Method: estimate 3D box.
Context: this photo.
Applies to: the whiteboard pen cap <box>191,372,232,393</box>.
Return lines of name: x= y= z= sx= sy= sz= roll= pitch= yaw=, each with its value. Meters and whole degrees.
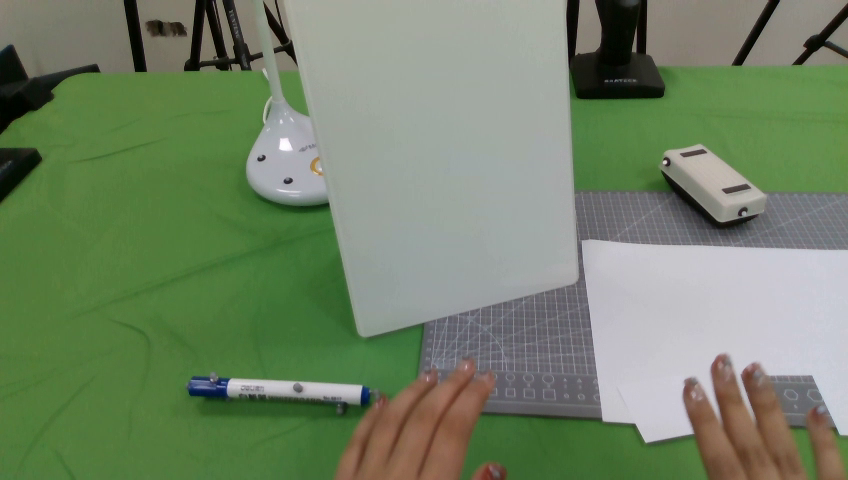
whiteboard pen cap: x=-0.172 y=0.117 z=0.496 sx=0.033 sy=0.018 sz=0.018 roll=2 pitch=42 yaw=2

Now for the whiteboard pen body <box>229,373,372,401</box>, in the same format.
whiteboard pen body: x=-0.113 y=0.119 z=0.492 sx=0.141 sy=0.017 sz=0.017 roll=3 pitch=42 yaw=4

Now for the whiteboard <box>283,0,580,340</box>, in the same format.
whiteboard: x=0.008 y=-0.098 z=0.561 sx=0.217 sy=0.307 sz=0.142 roll=-13 pitch=23 yaw=-9

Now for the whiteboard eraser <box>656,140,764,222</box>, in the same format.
whiteboard eraser: x=0.305 y=-0.064 z=0.653 sx=0.056 sy=0.042 sz=0.111 roll=-15 pitch=43 yaw=-10

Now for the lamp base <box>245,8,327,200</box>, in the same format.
lamp base: x=-0.151 y=-0.163 z=0.697 sx=0.160 sy=0.182 sz=0.177 roll=-34 pitch=47 yaw=-29
